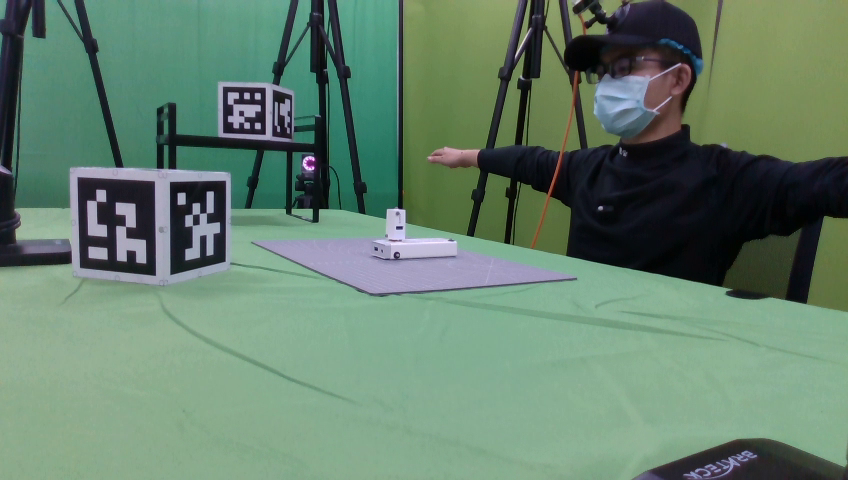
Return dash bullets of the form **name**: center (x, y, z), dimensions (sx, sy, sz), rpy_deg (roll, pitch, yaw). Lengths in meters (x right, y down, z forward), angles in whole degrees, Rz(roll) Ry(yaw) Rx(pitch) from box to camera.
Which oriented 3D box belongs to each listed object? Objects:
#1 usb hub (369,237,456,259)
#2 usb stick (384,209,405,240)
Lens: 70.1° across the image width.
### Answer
- **usb hub**: center (-0.016, 0.012, 0.909), dimensions (0.126, 0.025, 0.049), rpy_deg (-2, 9, -32)
- **usb stick**: center (-0.044, -0.016, 0.892), dimensions (0.021, 0.059, 0.027), rpy_deg (-1, 9, -35)
